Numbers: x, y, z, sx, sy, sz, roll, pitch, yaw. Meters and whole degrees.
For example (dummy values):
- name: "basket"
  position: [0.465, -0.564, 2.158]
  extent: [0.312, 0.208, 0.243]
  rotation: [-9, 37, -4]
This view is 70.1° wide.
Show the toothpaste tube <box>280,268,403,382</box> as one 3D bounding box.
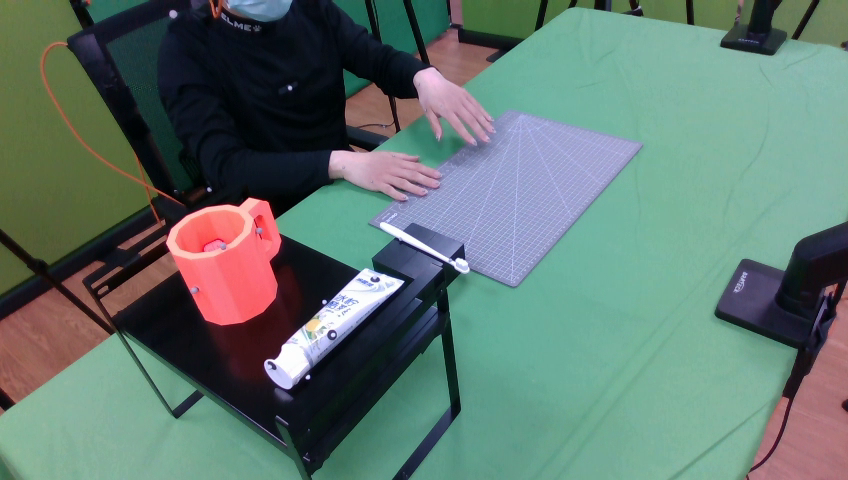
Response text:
- name: "toothpaste tube"
  position: [-0.087, 0.081, 0.610]
  extent: [0.054, 0.034, 0.165]
  rotation: [21, 43, 24]

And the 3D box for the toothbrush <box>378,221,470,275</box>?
- name: "toothbrush"
  position: [-0.004, 0.007, 0.894]
  extent: [0.180, 0.017, 0.014]
  rotation: [27, 55, 34]

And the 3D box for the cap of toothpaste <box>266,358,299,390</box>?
- name: "cap of toothpaste"
  position: [-0.130, 0.122, 0.558]
  extent: [0.037, 0.037, 0.011]
  rotation: [18, 42, 27]

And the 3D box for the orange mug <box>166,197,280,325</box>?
- name: "orange mug"
  position: [-0.203, 0.014, 0.650]
  extent: [0.083, 0.101, 0.126]
  rotation: [12, 48, 22]
